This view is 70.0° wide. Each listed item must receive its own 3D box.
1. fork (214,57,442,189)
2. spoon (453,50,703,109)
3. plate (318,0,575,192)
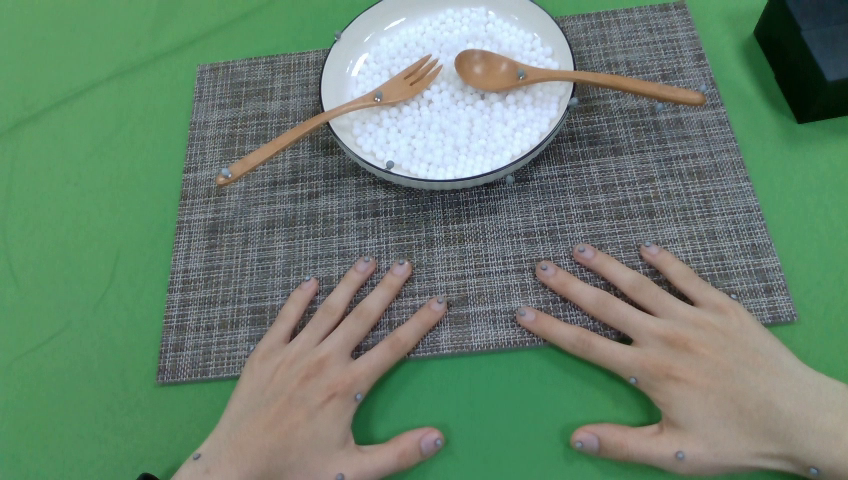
[{"bbox_3d":[-0.073,-0.095,0.483,0.207,0.019,0.028,-31,64,-18],"label":"fork"},{"bbox_3d":[0.114,-0.122,0.471,0.192,0.022,0.041,13,62,21],"label":"spoon"},{"bbox_3d":[0.018,-0.126,0.504,0.209,0.038,0.207,-3,64,6],"label":"plate"}]
